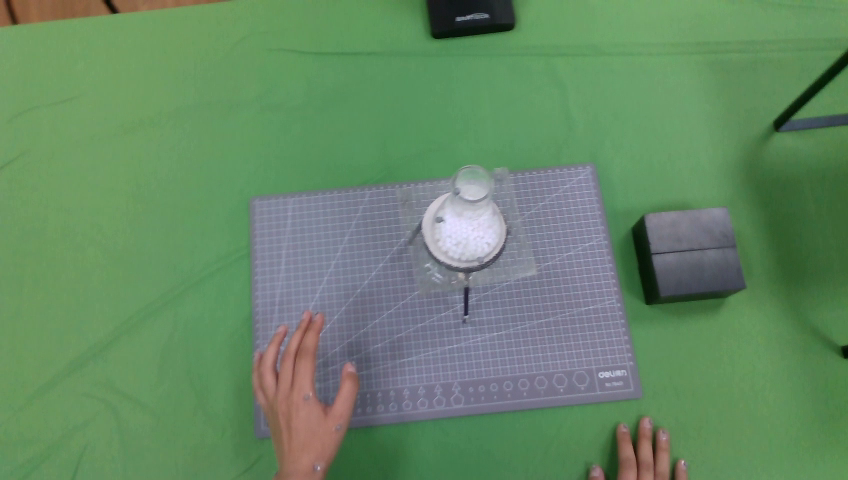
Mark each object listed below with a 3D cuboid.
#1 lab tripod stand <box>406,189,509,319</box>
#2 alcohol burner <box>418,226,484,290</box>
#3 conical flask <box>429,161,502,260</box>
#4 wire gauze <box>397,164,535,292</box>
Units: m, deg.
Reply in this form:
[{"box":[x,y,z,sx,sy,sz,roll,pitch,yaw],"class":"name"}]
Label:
[{"box":[0.045,0.004,0.689,0.148,0.132,0.147,0,71,0],"class":"lab tripod stand"},{"box":[0.032,0.016,0.697,0.078,0.120,0.077,0,72,-1],"class":"alcohol burner"},{"box":[0.042,-0.032,0.570,0.075,0.122,0.075,0,72,0],"class":"conical flask"},{"box":[0.043,-0.013,0.626,0.125,0.011,0.120,-10,75,-6],"class":"wire gauze"}]
